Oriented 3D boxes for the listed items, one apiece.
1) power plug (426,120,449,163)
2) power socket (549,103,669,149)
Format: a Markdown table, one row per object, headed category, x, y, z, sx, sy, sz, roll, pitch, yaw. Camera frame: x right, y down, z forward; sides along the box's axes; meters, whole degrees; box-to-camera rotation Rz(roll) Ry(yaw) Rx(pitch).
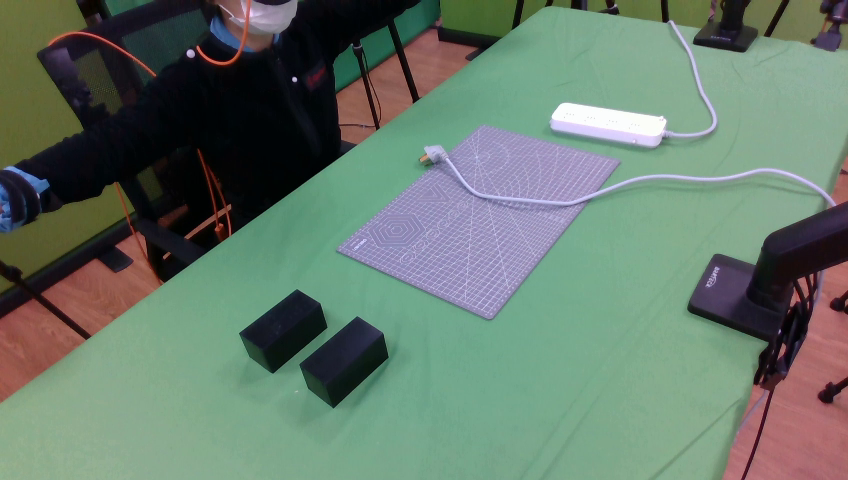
| category | x | y | z | sx | sy | sz | roll | pitch | yaw |
| --- | --- | --- | --- | --- | --- | --- | --- | --- | --- |
| power plug | 0.034 | -0.181 | 1.142 | 0.053 | 0.072 | 0.035 | 32 | 26 | -17 |
| power socket | 0.353 | -0.223 | 1.169 | 0.225 | 0.033 | 0.072 | 17 | 47 | 25 |
